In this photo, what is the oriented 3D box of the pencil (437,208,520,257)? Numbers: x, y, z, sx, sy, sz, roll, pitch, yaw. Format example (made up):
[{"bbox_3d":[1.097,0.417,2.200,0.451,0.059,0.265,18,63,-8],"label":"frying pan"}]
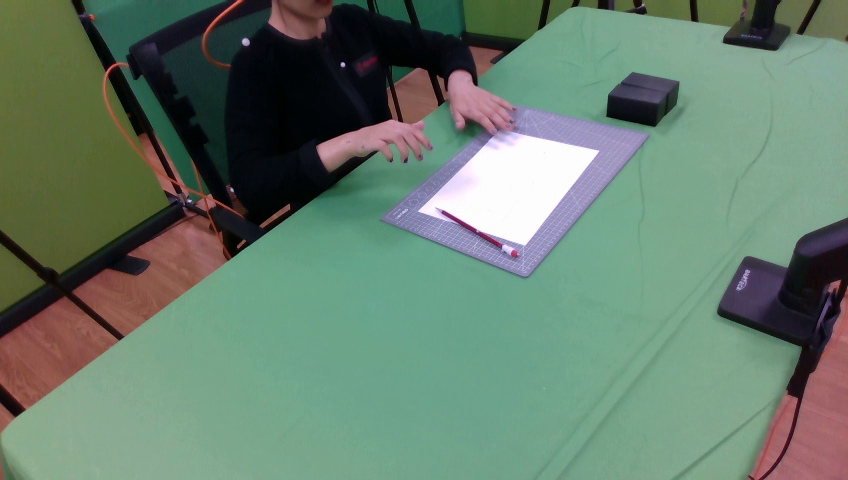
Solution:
[{"bbox_3d":[0.083,-0.016,0.990,0.012,0.012,0.192,-34,45,-26],"label":"pencil"}]
